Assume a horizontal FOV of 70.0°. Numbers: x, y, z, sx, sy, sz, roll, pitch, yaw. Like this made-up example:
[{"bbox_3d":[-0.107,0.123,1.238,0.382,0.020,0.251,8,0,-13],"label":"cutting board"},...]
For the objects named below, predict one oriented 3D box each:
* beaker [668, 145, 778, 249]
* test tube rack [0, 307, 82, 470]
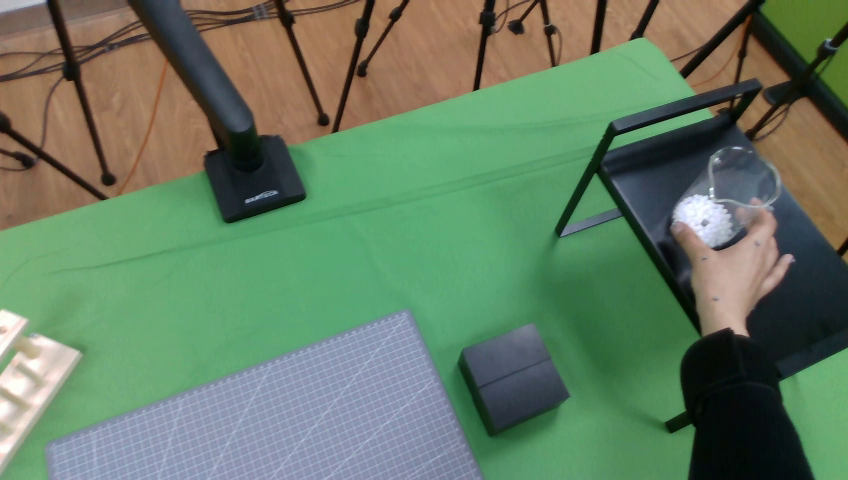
[{"bbox_3d":[0.314,-0.040,0.651,0.084,0.101,0.073,-32,69,-19],"label":"beaker"},{"bbox_3d":[-0.489,0.203,0.654,0.066,0.086,0.241,21,62,6],"label":"test tube rack"}]
